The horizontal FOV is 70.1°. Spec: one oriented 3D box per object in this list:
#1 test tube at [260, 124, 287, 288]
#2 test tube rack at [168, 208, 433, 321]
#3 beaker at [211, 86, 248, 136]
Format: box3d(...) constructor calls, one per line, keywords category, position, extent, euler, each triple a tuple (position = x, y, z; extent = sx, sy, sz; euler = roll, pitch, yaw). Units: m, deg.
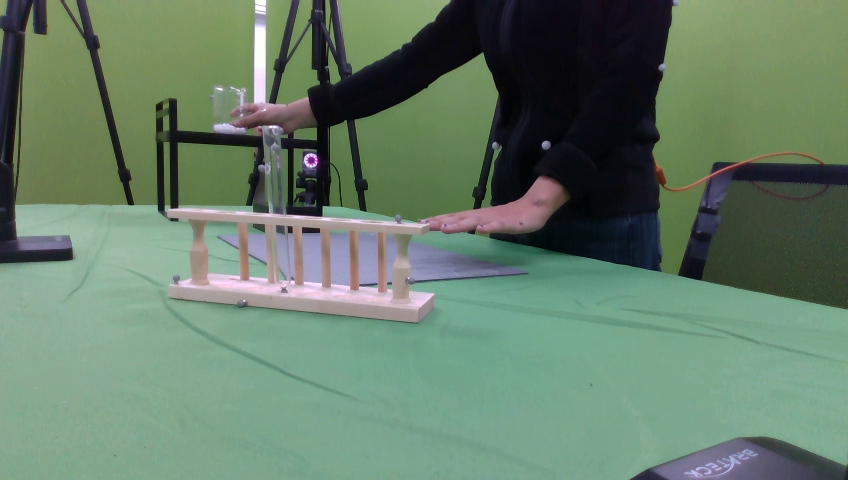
box3d(category="test tube", position=(-0.138, -0.030, 0.554), extent=(0.017, 0.150, 0.017), euler=(-2, 8, 1))
box3d(category="test tube rack", position=(-0.116, 0.017, 0.574), extent=(0.242, 0.085, 0.067), euler=(4, 8, 13))
box3d(category="beaker", position=(-0.413, -0.274, 1.297), extent=(0.074, 0.100, 0.083), euler=(-5, 11, -44))
